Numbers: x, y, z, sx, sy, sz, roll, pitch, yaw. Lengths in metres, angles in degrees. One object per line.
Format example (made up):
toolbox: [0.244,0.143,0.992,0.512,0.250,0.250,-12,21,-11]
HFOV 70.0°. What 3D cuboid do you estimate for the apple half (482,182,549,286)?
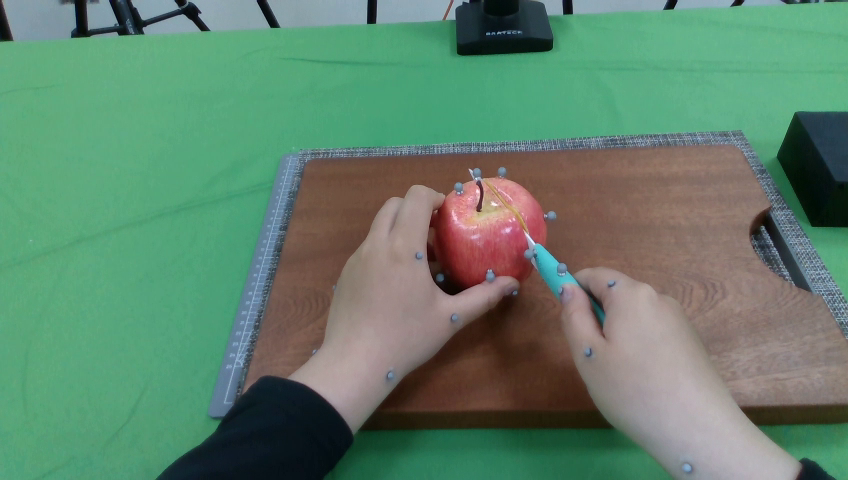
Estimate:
apple half: [0.070,-0.007,0.442,0.033,0.082,0.080,-24,47,-15]

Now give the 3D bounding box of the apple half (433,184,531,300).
apple half: [0.034,0.007,0.431,0.053,0.075,0.080,-24,51,-13]

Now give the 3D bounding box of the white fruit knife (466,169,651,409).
white fruit knife: [0.077,0.018,0.394,0.016,0.028,0.205,-23,53,-15]
